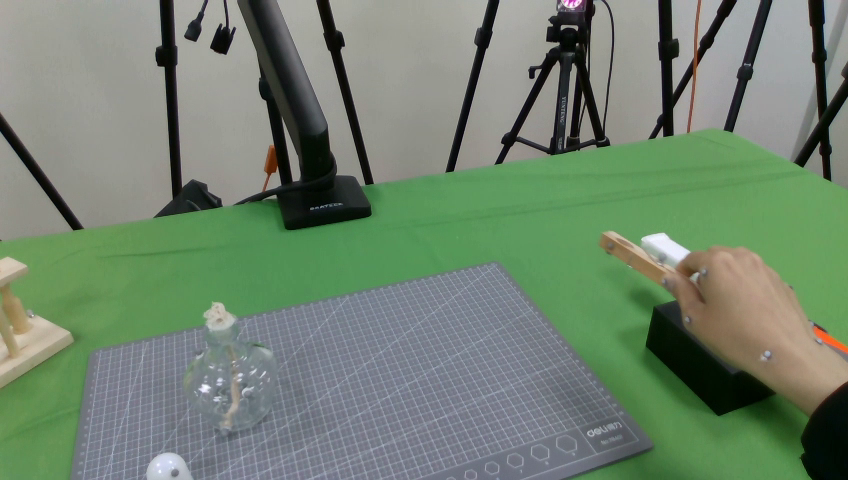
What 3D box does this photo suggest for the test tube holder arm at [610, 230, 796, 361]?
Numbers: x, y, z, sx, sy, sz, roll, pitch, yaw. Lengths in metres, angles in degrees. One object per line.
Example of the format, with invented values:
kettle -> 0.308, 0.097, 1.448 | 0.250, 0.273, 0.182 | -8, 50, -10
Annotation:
test tube holder arm -> 0.213, 0.038, 0.487 | 0.013, 0.015, 0.176 | -14, 36, -30

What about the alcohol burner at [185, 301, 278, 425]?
alcohol burner -> -0.164, 0.098, 0.509 | 0.078, 0.120, 0.077 | 1, 33, 0

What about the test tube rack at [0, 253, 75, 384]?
test tube rack -> -0.448, 0.112, 0.526 | 0.066, 0.086, 0.242 | 17, 36, 25

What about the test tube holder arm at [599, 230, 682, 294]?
test tube holder arm -> 0.185, 0.018, 0.516 | 0.010, 0.015, 0.087 | -13, 36, -30

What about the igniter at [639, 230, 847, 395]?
igniter -> 0.299, 0.058, 0.563 | 0.057, 0.025, 0.273 | -12, 30, -17

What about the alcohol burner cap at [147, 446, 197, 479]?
alcohol burner cap -> -0.189, 0.175, 0.453 | 0.034, 0.048, 0.033 | 1, 32, 0
